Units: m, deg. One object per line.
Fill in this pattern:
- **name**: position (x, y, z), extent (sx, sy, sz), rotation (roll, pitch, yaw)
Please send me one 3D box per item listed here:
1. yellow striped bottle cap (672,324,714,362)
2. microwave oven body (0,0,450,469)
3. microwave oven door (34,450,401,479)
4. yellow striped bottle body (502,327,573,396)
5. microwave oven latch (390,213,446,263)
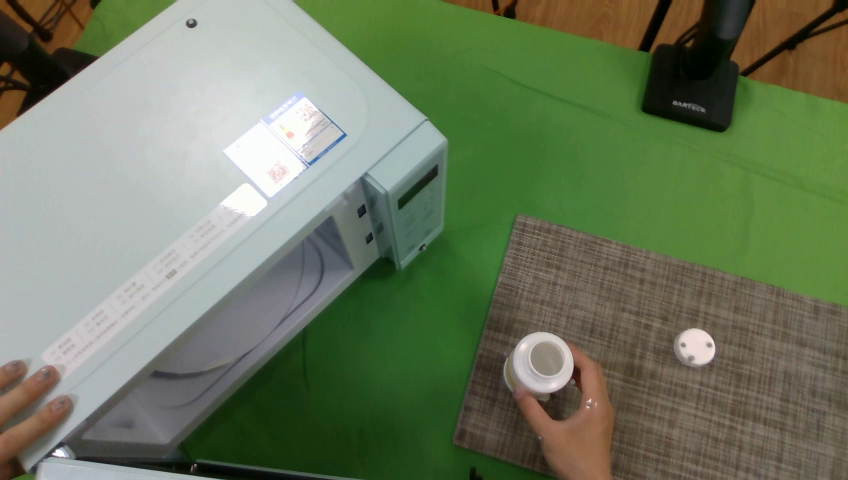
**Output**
- **yellow striped bottle cap**: position (0.325, 0.124, 0.732), extent (0.044, 0.019, 0.044), rotation (-1, 71, 2)
- **microwave oven body**: position (-0.239, -0.021, 0.654), extent (0.324, 0.261, 0.441), rotation (43, 77, 13)
- **microwave oven door**: position (-0.119, 0.234, 0.561), extent (0.356, 0.245, 0.039), rotation (6, 70, 2)
- **yellow striped bottle body**: position (0.123, 0.131, 0.655), extent (0.063, 0.121, 0.062), rotation (0, 70, 0)
- **microwave oven latch**: position (-0.007, -0.009, 0.752), extent (0.079, 0.029, 0.030), rotation (-42, 76, -12)
